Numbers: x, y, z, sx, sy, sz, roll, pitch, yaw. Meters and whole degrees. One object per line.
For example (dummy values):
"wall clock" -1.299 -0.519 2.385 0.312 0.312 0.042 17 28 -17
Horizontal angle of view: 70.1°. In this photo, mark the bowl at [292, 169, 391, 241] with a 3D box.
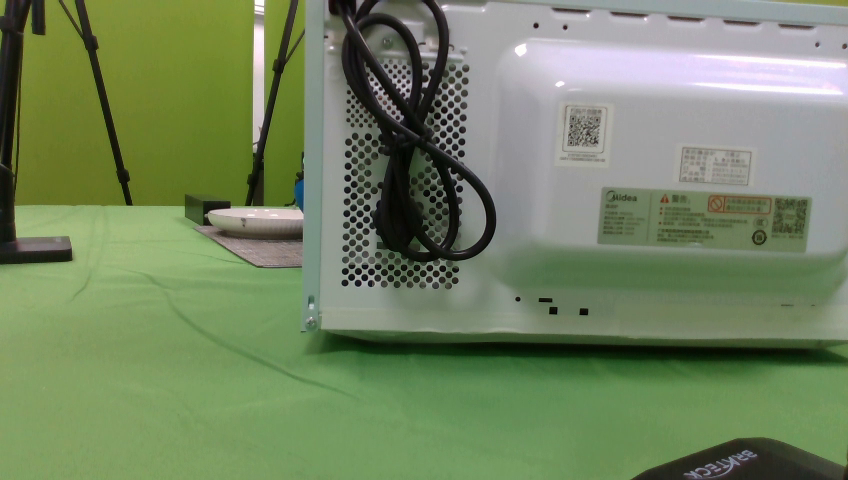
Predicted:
"bowl" -0.120 -0.045 0.916 0.151 0.076 0.151 -8 -12 -1

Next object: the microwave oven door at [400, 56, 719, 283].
"microwave oven door" 0.155 -0.077 0.698 0.356 0.243 0.039 2 8 -5

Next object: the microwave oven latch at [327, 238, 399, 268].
"microwave oven latch" -0.069 0.015 0.694 0.079 0.029 0.030 3 7 -3

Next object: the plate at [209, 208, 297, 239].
"plate" -0.271 -0.029 1.074 0.208 0.039 0.207 3 7 0

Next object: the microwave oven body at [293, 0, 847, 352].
"microwave oven body" 0.122 -0.055 0.550 0.442 0.260 0.325 3 7 -5
